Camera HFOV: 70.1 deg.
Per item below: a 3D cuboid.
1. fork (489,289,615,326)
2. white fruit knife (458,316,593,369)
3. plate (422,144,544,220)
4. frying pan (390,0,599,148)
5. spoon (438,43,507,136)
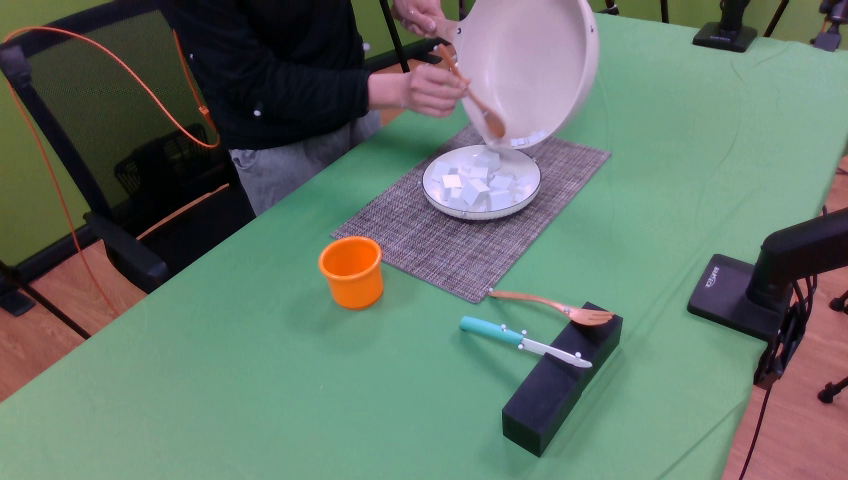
[{"bbox_3d":[0.161,0.085,0.801,0.205,0.019,0.028,11,50,48],"label":"fork"},{"bbox_3d":[0.120,0.127,0.757,0.205,0.027,0.016,12,44,43],"label":"white fruit knife"},{"bbox_3d":[0.102,-0.097,1.048,0.207,0.039,0.206,-4,40,4],"label":"plate"},{"bbox_3d":[0.104,-0.351,1.073,0.484,0.307,0.103,35,32,33],"label":"frying pan"},{"bbox_3d":[0.079,-0.238,0.969,0.041,0.195,0.021,12,66,49],"label":"spoon"}]
